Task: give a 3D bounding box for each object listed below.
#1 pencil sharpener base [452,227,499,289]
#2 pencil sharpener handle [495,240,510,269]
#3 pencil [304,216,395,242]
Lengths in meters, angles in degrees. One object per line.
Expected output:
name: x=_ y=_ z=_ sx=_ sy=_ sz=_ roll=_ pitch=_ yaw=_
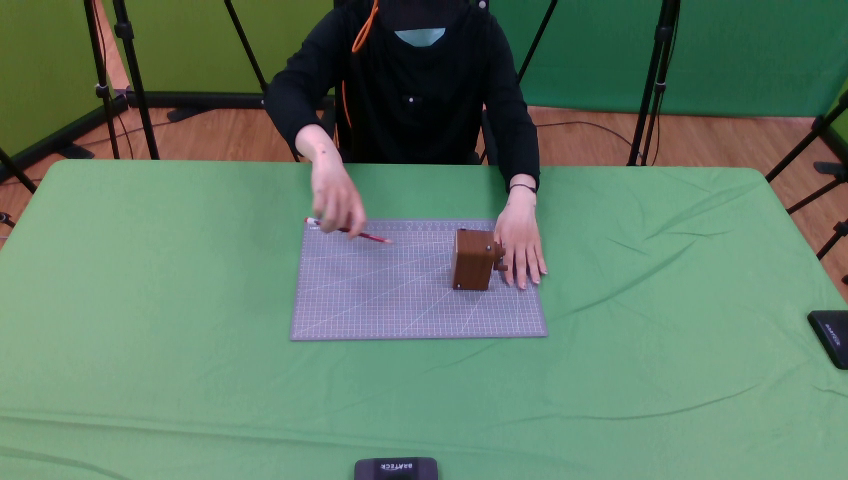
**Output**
pencil sharpener base: x=0.093 y=0.035 z=1.102 sx=0.077 sy=0.107 sz=0.061 roll=3 pitch=46 yaw=-1
pencil sharpener handle: x=0.144 y=0.029 z=1.095 sx=0.030 sy=0.068 sz=0.036 roll=3 pitch=47 yaw=-1
pencil: x=-0.133 y=-0.018 z=1.067 sx=0.193 sy=0.012 sz=0.012 roll=15 pitch=47 yaw=25
